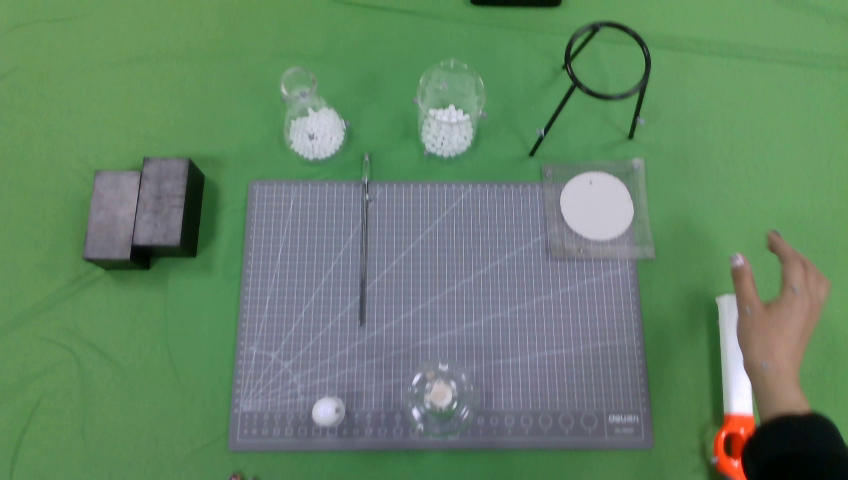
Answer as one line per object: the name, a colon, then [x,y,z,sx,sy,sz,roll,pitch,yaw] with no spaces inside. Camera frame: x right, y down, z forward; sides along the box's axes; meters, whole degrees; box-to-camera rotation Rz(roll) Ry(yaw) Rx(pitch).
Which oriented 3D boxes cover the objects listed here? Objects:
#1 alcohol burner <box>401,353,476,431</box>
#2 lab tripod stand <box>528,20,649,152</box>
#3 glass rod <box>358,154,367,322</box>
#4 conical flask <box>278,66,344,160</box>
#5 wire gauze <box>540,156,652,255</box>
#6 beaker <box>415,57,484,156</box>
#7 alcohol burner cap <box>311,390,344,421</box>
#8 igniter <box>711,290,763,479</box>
alcohol burner: [0.015,0.151,0.603,0.078,0.119,0.077,0,77,-1]
lab tripod stand: [0.185,-0.168,0.685,0.148,0.132,0.147,0,77,-2]
glass rod: [-0.071,-0.006,0.694,0.008,0.008,0.198,0,75,-2]
conical flask: [-0.132,-0.145,0.674,0.075,0.122,0.075,1,74,-1]
wire gauze: [0.203,-0.041,0.714,0.125,0.011,0.121,0,75,-2]
beaker: [0.026,-0.148,0.692,0.074,0.101,0.083,3,74,-1]
alcohol burner cap: [-0.102,0.172,0.630,0.034,0.048,0.033,1,75,-2]
igniter: [0.334,0.191,0.651,0.057,0.025,0.275,8,75,-11]
